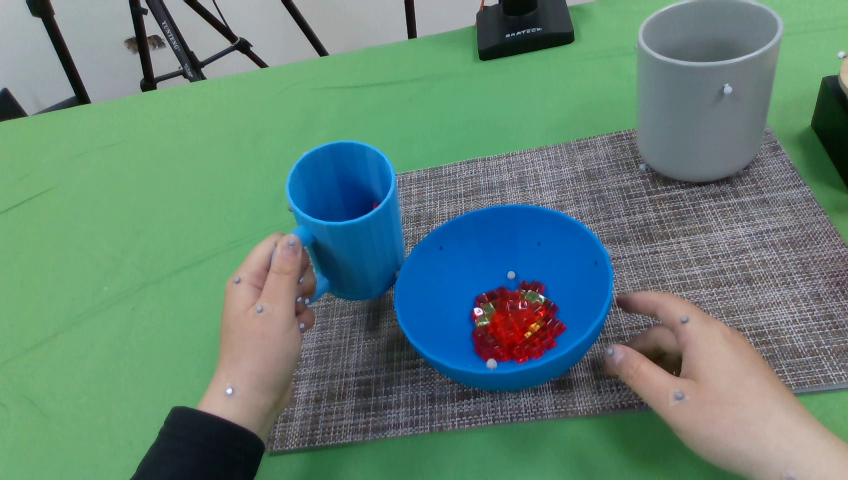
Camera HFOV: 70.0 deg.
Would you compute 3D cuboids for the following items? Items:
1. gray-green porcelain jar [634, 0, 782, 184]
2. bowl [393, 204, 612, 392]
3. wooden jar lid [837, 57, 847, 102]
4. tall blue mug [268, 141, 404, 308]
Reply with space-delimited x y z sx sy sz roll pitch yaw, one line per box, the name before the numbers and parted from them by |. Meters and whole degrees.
gray-green porcelain jar | 0.235 -0.120 0.517 0.106 0.128 0.105 -9 45 10
bowl | 0.059 0.053 0.438 0.151 0.077 0.150 -9 44 9
wooden jar lid | 0.389 -0.122 0.479 0.108 0.021 0.107 -10 44 10
tall blue mug | -0.061 0.002 0.454 0.077 0.109 0.106 10 58 9
